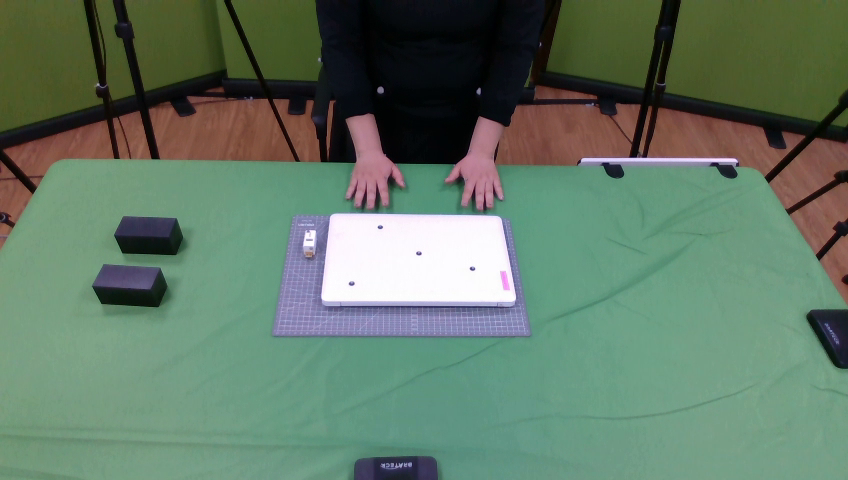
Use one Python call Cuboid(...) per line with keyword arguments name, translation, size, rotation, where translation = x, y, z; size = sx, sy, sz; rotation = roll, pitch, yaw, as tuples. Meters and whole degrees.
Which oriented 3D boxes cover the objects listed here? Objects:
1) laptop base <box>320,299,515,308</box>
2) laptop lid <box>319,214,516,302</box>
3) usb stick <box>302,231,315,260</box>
Cuboid(name="laptop base", translation=(-0.013, 0.039, 1.160), size=(0.355, 0.023, 0.234), rotation=(0, 43, -4))
Cuboid(name="laptop lid", translation=(-0.013, 0.029, 1.154), size=(0.357, 0.013, 0.240), rotation=(2, 43, -3))
Cuboid(name="usb stick", translation=(-0.223, 0.011, 1.163), size=(0.021, 0.027, 0.059), rotation=(4, 48, -6))
